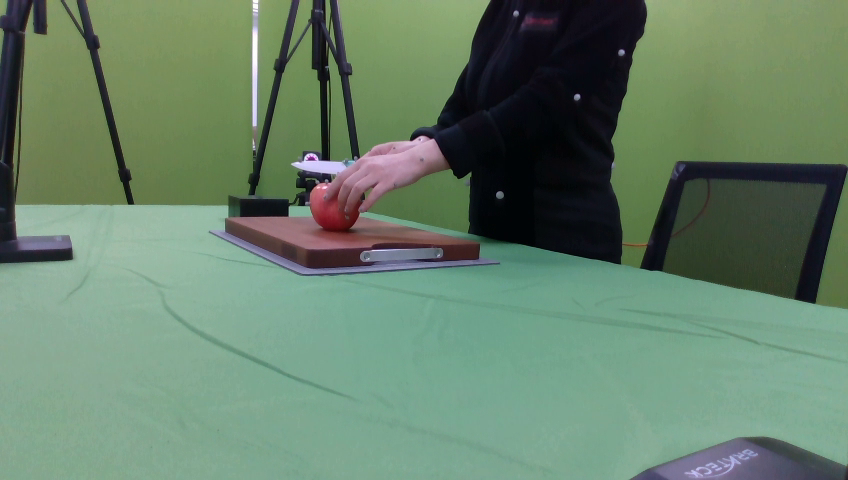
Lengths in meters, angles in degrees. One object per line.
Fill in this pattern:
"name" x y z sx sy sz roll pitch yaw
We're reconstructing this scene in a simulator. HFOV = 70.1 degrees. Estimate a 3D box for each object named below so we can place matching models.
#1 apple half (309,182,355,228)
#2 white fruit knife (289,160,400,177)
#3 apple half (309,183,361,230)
"apple half" -0.153 -0.058 0.978 0.082 0.081 0.032 -2 11 -27
"white fruit knife" -0.126 -0.120 0.994 0.208 0.027 0.016 -2 -20 -40
"apple half" -0.135 -0.051 0.944 0.081 0.074 0.053 3 10 -28
